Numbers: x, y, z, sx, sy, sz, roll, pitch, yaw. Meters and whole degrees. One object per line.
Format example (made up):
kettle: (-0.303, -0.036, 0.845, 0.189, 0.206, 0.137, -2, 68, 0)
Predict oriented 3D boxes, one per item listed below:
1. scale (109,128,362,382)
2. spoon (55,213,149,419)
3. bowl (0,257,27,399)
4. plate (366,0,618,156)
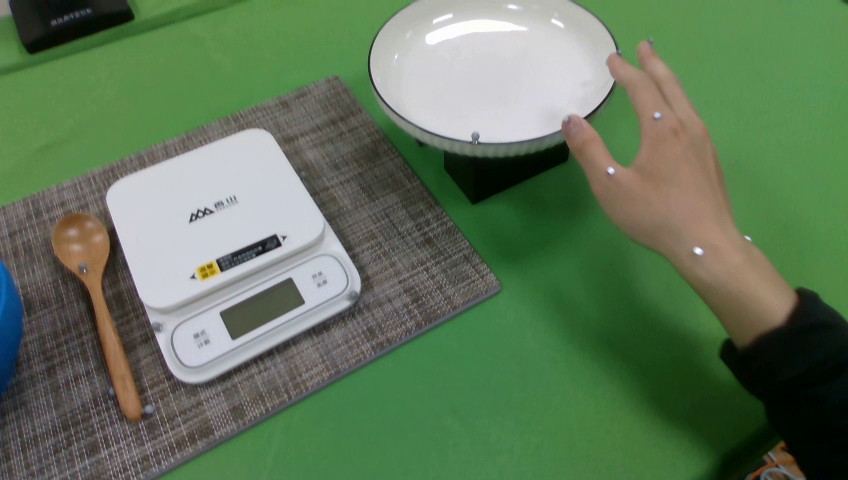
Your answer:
scale: (-0.154, 0.000, 0.483, 0.149, 0.032, 0.199, -27, 58, -15)
spoon: (-0.241, 0.051, 0.457, 0.042, 0.022, 0.191, -17, 54, -27)
bowl: (-0.335, 0.078, 0.408, 0.151, 0.077, 0.150, -1, 54, 2)
plate: (0.055, -0.144, 0.515, 0.209, 0.038, 0.207, -1, 54, 2)
